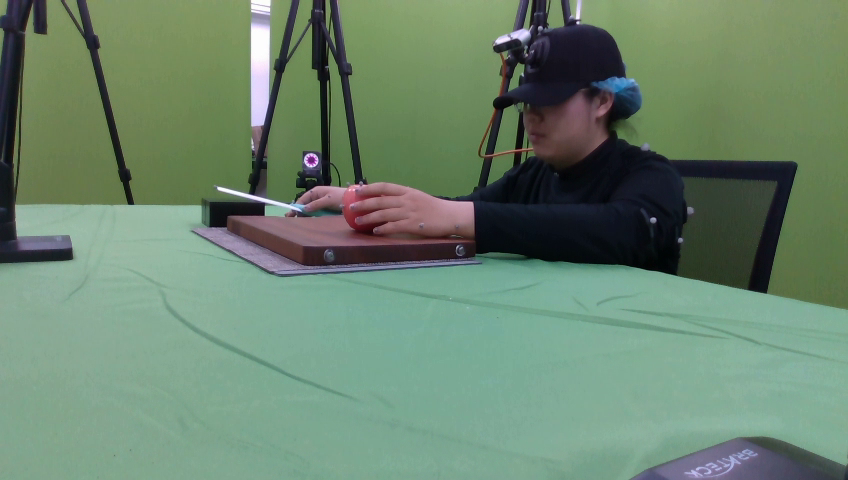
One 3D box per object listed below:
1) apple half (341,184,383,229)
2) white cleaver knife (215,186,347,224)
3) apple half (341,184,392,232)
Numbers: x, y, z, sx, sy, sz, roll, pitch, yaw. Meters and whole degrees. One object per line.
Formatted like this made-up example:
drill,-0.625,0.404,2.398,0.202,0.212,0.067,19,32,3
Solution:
apple half,-0.106,-0.055,0.971,0.082,0.081,0.032,-3,14,-38
white cleaver knife,-0.280,-0.066,1.227,0.288,0.021,0.065,12,14,-29
apple half,-0.082,-0.049,0.941,0.081,0.074,0.053,0,12,-38
